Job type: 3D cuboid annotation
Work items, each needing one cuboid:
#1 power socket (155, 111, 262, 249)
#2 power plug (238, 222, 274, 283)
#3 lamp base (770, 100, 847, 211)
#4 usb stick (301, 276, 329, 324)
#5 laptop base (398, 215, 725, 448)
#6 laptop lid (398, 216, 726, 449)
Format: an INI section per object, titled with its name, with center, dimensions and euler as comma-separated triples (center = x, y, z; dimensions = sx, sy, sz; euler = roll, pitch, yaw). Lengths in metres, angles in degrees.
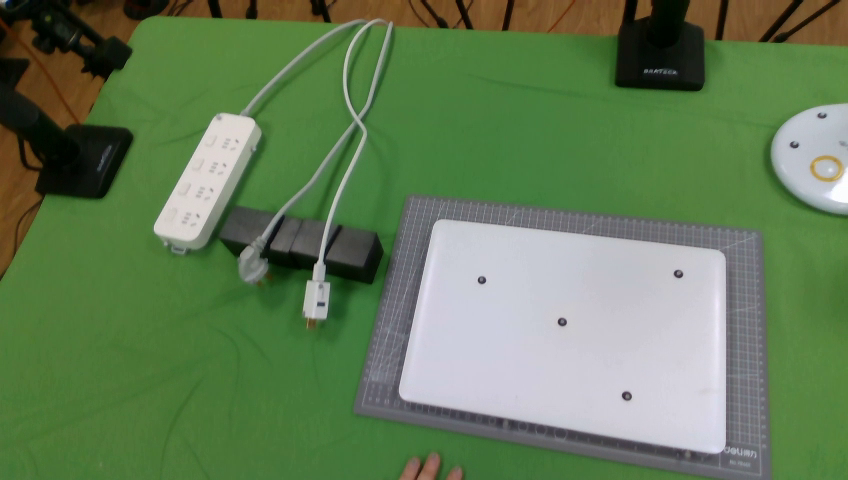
[power socket]
center = -0.303, -0.092, 0.861
dimensions = 0.072, 0.033, 0.225
euler = 13, 65, 14
[power plug]
center = -0.201, 0.021, 0.761
dimensions = 0.072, 0.053, 0.035
euler = -40, 46, -5
[lamp base]
center = 0.521, -0.150, 0.697
dimensions = 0.179, 0.182, 0.159
euler = -42, 65, -17
[usb stick]
center = -0.134, 0.074, 0.736
dimensions = 0.027, 0.022, 0.059
euler = 8, 90, 46
[laptop base]
center = 0.162, 0.095, 0.711
dimensions = 0.353, 0.023, 0.234
euler = 7, 68, 11
[laptop lid]
center = 0.160, 0.092, 0.699
dimensions = 0.356, 0.013, 0.240
euler = 8, 67, 12
